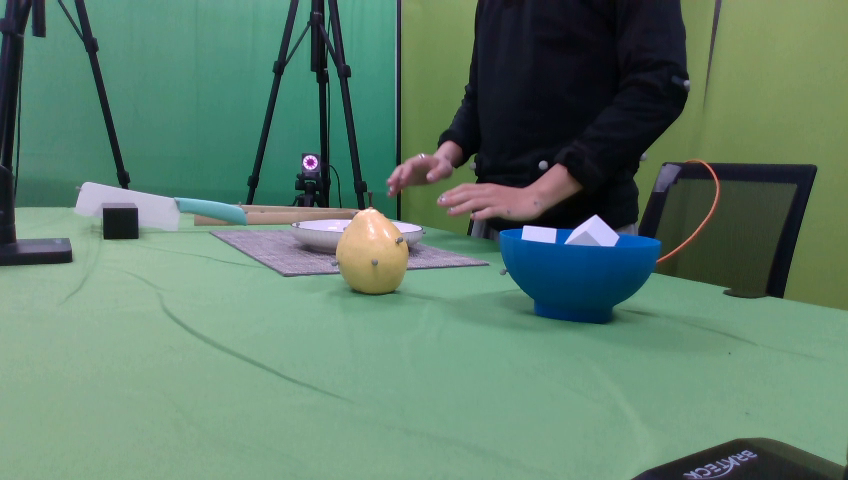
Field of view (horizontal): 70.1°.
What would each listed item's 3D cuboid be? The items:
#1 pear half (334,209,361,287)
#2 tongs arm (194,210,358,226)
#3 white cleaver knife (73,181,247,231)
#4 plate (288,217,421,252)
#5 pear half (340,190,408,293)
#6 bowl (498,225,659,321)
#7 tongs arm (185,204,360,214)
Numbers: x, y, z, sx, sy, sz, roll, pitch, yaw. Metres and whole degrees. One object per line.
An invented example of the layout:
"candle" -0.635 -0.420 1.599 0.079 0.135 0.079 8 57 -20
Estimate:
"pear half" -0.076 0.008 0.663 0.031 0.088 0.071 6 18 33
"tongs arm" -0.298 -0.049 1.307 0.390 0.028 0.028 -3 7 -38
"white cleaver knife" -0.465 -0.052 1.090 0.288 0.066 0.021 9 7 -30
"plate" -0.109 -0.008 0.956 0.208 0.039 0.207 2 7 0
"pear half" -0.047 0.002 0.641 0.055 0.110 0.076 6 19 32
"bowl" 0.145 0.032 0.585 0.151 0.077 0.151 2 7 0
"tongs arm" -0.337 -0.065 1.377 0.387 0.026 0.050 0 9 -25
